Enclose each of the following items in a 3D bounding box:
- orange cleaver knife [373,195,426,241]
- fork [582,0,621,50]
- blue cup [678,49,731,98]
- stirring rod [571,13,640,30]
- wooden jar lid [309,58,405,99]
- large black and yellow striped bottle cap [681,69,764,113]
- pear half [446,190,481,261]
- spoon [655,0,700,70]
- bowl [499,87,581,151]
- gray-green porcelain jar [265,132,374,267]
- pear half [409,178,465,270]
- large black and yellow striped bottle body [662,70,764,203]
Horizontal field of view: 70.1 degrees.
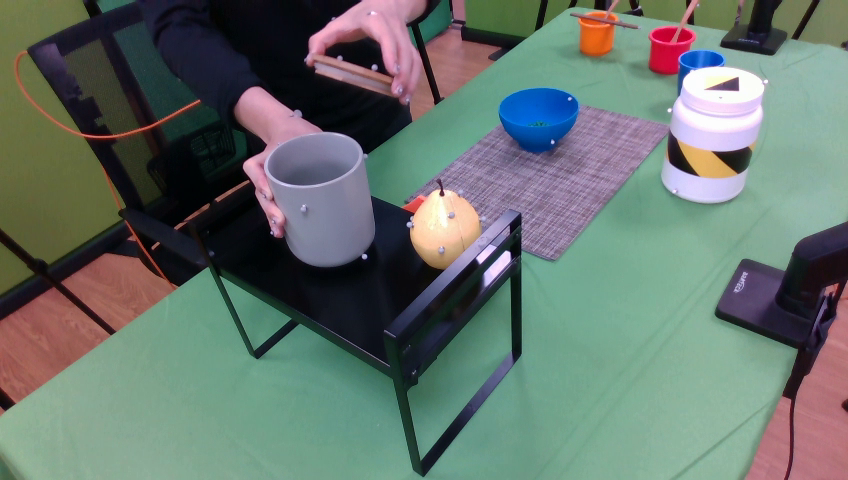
[{"bbox_3d":[-0.037,-0.029,0.973,0.210,0.077,0.012,-8,33,50],"label":"orange cleaver knife"},{"bbox_3d":[0.446,-0.539,1.438,0.207,0.019,0.028,-57,35,12],"label":"fork"},{"bbox_3d":[0.543,-0.310,1.194,0.092,0.101,0.092,-6,41,6],"label":"blue cup"},{"bbox_3d":[0.419,-0.508,1.404,0.174,0.006,0.014,28,55,35],"label":"stirring rod"},{"bbox_3d":[-0.075,-0.178,0.670,0.108,0.020,0.108,15,11,-2],"label":"wooden jar lid"},{"bbox_3d":[0.453,-0.229,0.921,0.115,0.019,0.114,-4,39,4],"label":"large black and yellow striped bottle cap"},{"bbox_3d":[0.046,-0.020,0.665,0.031,0.088,0.070,-17,38,-9],"label":"pear half"},{"bbox_3d":[0.568,-0.463,1.337,0.041,0.022,0.193,30,97,37],"label":"spoon"},{"bbox_3d":[0.221,-0.223,1.156,0.151,0.077,0.150,-4,40,4],"label":"bowl"},{"bbox_3d":[-0.113,-0.041,0.686,0.106,0.127,0.105,-3,42,3],"label":"gray-green porcelain jar"},{"bbox_3d":[0.010,-0.019,0.655,0.056,0.110,0.076,-17,37,-9],"label":"pear half"},{"bbox_3d":[0.464,-0.166,0.976,0.131,0.185,0.130,-5,41,5],"label":"large black and yellow striped bottle body"}]
